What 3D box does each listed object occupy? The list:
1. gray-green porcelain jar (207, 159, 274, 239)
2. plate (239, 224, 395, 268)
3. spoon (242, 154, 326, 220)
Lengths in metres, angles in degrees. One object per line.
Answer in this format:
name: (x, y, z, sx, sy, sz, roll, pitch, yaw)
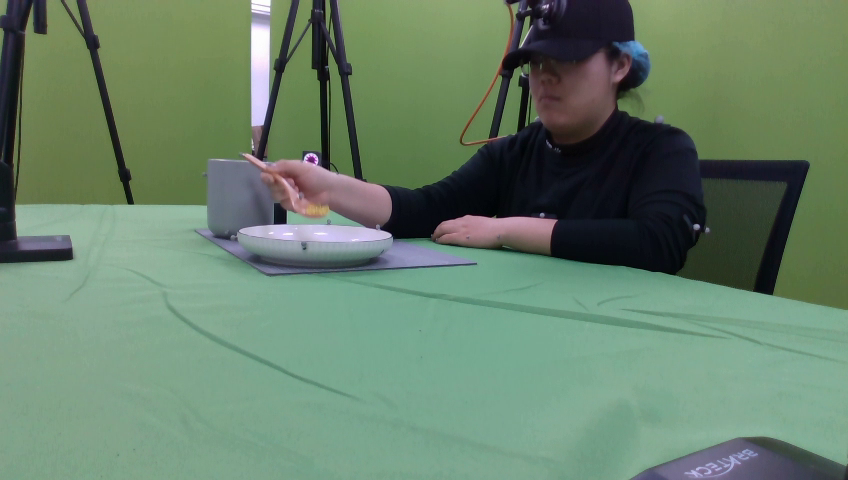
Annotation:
gray-green porcelain jar: (-0.304, -0.068, 1.003, 0.106, 0.126, 0.106, 3, 7, 0)
plate: (-0.144, 0.007, 0.823, 0.208, 0.039, 0.207, 3, 7, 0)
spoon: (-0.207, -0.080, 0.873, 0.193, 0.021, 0.042, 41, 30, 29)
